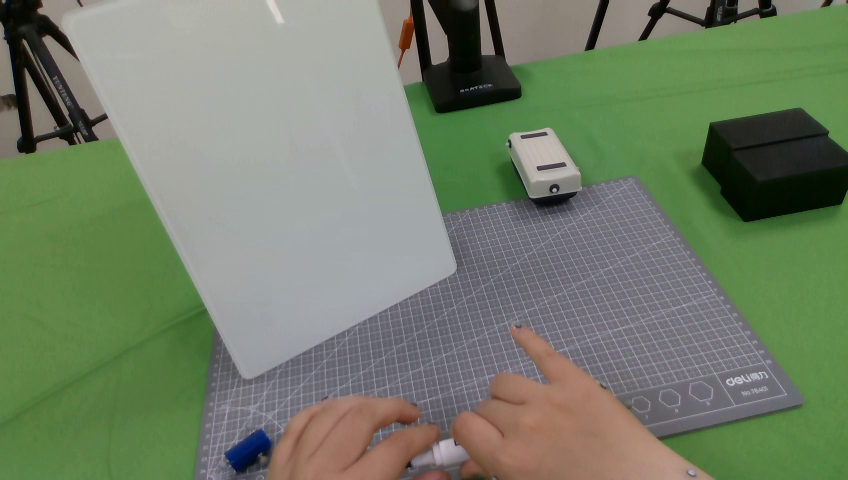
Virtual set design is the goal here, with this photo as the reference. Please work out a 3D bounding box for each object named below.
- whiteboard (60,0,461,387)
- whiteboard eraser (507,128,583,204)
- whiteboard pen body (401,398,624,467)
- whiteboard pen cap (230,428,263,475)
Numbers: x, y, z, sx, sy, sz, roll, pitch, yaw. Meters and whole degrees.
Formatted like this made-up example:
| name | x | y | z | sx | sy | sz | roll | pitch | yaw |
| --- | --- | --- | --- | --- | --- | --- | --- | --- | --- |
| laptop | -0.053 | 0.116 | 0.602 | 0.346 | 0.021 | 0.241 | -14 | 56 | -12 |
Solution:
| name | x | y | z | sx | sy | sz | roll | pitch | yaw |
| --- | --- | --- | --- | --- | --- | --- | --- | --- | --- |
| whiteboard | -0.128 | -0.071 | 0.538 | 0.217 | 0.308 | 0.142 | -26 | 25 | -18 |
| whiteboard eraser | 0.130 | -0.081 | 0.662 | 0.055 | 0.042 | 0.111 | -12 | 37 | 0 |
| whiteboard pen body | 0.054 | 0.121 | 0.374 | 0.141 | 0.017 | 0.017 | -15 | 41 | 1 |
| whiteboard pen cap | -0.132 | 0.158 | 0.449 | 0.018 | 0.018 | 0.033 | 1 | 59 | 11 |
